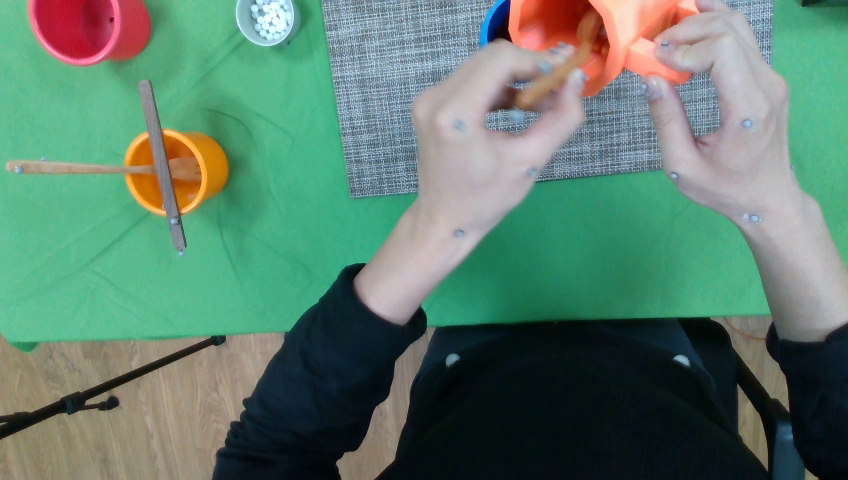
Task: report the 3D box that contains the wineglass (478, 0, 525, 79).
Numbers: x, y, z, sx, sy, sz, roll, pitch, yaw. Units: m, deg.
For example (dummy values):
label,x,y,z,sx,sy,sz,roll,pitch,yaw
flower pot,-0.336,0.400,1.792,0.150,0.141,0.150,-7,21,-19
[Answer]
label,x,y,z,sx,sy,sz,roll,pitch,yaw
wineglass,0.086,-0.181,0.546,0.073,0.171,0.074,2,104,7

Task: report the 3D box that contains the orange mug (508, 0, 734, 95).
label,x,y,z,sx,sy,sz,roll,pitch,yaw
orange mug,0.132,-0.150,0.402,0.125,0.101,0.084,38,152,27

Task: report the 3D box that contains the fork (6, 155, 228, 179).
label,x,y,z,sx,sy,sz,roll,pitch,yaw
fork,-0.311,-0.077,0.634,0.208,0.018,0.028,-4,117,-37

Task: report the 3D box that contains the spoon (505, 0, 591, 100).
label,x,y,z,sx,sy,sz,roll,pitch,yaw
spoon,0.083,-0.126,0.376,0.022,0.192,0.041,43,130,-12

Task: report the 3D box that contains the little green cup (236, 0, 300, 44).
label,x,y,z,sx,sy,sz,roll,pitch,yaw
little green cup,-0.160,-0.235,0.632,0.061,0.038,0.062,2,106,7

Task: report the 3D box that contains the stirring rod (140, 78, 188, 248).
label,x,y,z,sx,sy,sz,roll,pitch,yaw
stirring rod,-0.269,-0.077,0.627,0.014,0.006,0.177,-5,104,8
